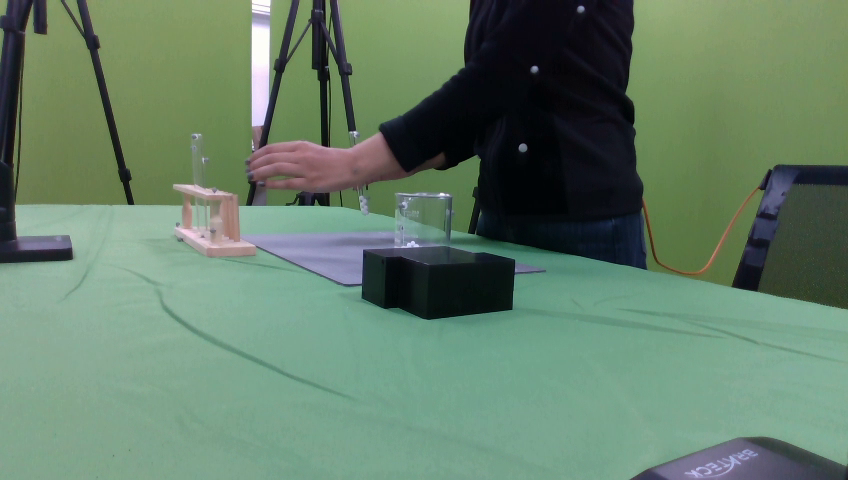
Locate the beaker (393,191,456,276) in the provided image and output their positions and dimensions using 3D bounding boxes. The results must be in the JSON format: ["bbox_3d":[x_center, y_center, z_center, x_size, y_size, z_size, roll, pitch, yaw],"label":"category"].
[{"bbox_3d":[-0.004,-0.010,0.749,0.074,0.100,0.083,-3,9,-40],"label":"beaker"}]

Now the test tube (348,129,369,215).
[{"bbox_3d":[-0.113,-0.116,1.044,0.017,0.150,0.017,-6,16,2],"label":"test tube"}]

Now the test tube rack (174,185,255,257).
[{"bbox_3d":[-0.324,-0.035,0.922,0.067,0.085,0.241,-2,9,-31],"label":"test tube rack"}]

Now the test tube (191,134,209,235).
[{"bbox_3d":[-0.332,-0.082,0.898,0.017,0.150,0.017,-2,6,0],"label":"test tube"}]
